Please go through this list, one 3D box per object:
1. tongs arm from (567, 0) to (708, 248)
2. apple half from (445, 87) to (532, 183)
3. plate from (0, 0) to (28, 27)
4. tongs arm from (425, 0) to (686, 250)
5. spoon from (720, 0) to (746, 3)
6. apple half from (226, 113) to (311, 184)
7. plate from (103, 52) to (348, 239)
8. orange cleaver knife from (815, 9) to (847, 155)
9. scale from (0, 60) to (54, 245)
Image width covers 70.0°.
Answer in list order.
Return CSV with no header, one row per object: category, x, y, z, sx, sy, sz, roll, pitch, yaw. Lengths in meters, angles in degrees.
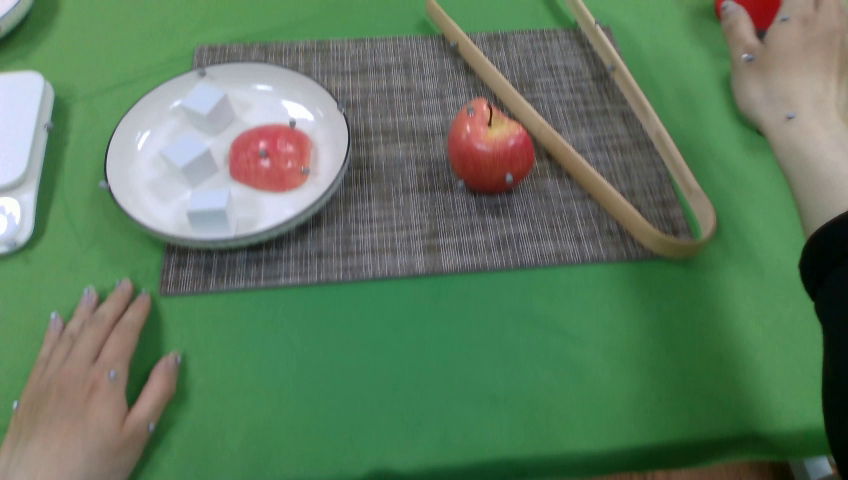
tongs arm,0.182,-0.161,0.603,0.051,0.027,0.381,-14,61,-11
apple half,0.048,-0.083,0.527,0.053,0.075,0.080,-40,70,-18
plate,-0.520,-0.266,0.649,0.208,0.039,0.205,1,58,-1
tongs arm,0.104,-0.134,0.587,0.028,0.028,0.384,-25,63,-20
spoon,0.407,-0.318,0.643,0.194,0.022,0.041,-35,50,30
apple half,-0.140,-0.090,0.540,0.081,0.033,0.080,3,58,-4
plate,-0.170,-0.084,0.542,0.209,0.038,0.207,1,58,-1
orange cleaver knife,0.383,-0.110,0.550,0.012,0.077,0.211,1,88,-5
scale,-0.418,-0.077,0.538,0.149,0.032,0.199,-9,59,-7
